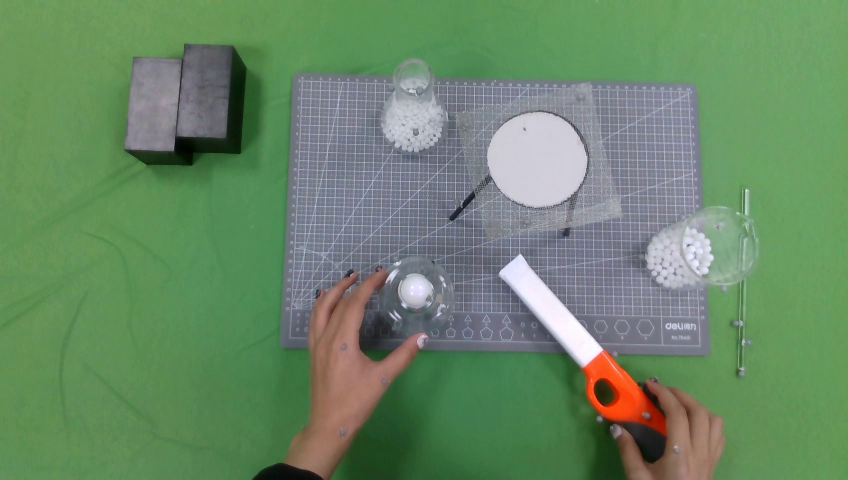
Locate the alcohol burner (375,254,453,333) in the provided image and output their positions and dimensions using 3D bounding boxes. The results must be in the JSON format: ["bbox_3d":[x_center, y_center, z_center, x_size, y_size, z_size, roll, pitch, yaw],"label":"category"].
[{"bbox_3d":[-0.010,0.050,0.584,0.078,0.119,0.077,0,80,0],"label":"alcohol burner"}]

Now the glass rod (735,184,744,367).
[{"bbox_3d":[0.341,0.036,0.652,0.008,0.008,0.199,5,82,-1],"label":"glass rod"}]

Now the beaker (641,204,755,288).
[{"bbox_3d":[0.270,0.009,0.605,0.084,0.100,0.074,-36,84,-7],"label":"beaker"}]

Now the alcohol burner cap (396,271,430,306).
[{"bbox_3d":[-0.009,0.043,0.548,0.034,0.048,0.034,0,85,-4],"label":"alcohol burner cap"}]

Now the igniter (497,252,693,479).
[{"bbox_3d":[0.174,0.127,0.614,0.057,0.025,0.276,-39,84,-8],"label":"igniter"}]

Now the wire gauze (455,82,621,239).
[{"bbox_3d":[0.099,-0.069,0.526,0.125,0.011,0.121,-11,83,-3],"label":"wire gauze"}]

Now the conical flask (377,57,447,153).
[{"bbox_3d":[-0.012,-0.139,0.607,0.075,0.122,0.075,0,81,-1],"label":"conical flask"}]

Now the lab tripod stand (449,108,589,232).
[{"bbox_3d":[0.096,-0.061,0.593,0.148,0.132,0.148,0,83,-1],"label":"lab tripod stand"}]
